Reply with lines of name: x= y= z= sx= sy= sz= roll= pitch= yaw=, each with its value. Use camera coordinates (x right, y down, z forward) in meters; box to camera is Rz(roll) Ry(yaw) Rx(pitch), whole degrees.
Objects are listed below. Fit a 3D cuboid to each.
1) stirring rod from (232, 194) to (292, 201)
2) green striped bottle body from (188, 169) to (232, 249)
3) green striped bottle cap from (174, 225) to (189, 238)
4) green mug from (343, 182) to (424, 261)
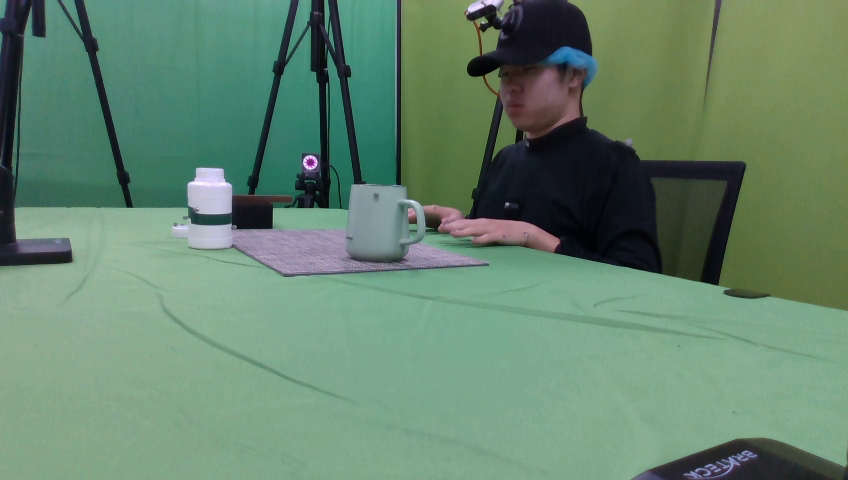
stirring rod: x=-0.353 y=-0.085 z=1.216 sx=0.177 sy=0.014 sz=0.006 roll=-1 pitch=13 yaw=-27
green striped bottle body: x=-0.324 y=-0.049 z=0.919 sx=0.063 sy=0.119 sz=0.063 roll=2 pitch=8 yaw=0
green striped bottle cap: x=-0.404 y=-0.015 z=1.036 sx=0.044 sy=0.020 sz=0.044 roll=-2 pitch=8 yaw=1
green mug: x=-0.053 y=-0.026 z=0.849 sx=0.125 sy=0.105 sz=0.093 roll=7 pitch=8 yaw=33
